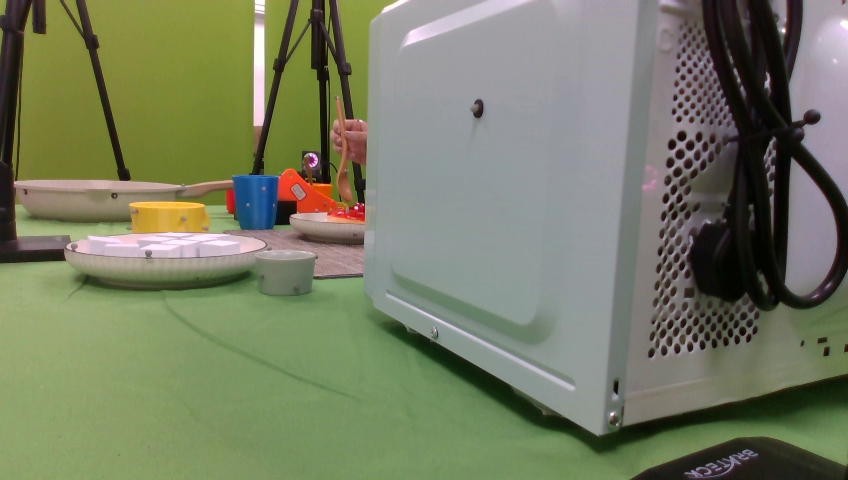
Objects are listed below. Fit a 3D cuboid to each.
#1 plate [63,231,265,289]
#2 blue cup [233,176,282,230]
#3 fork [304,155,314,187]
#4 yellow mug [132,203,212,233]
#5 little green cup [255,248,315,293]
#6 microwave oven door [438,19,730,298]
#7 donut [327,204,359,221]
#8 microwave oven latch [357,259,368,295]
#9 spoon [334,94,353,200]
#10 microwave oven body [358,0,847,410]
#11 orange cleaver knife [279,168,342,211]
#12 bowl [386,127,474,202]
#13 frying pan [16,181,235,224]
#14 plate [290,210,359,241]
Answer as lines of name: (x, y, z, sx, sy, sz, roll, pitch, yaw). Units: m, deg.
plate: (-0.288, 0.021, 0.687, 0.208, 0.039, 0.207, 2, 8, 0)
blue cup: (-0.314, -0.071, 1.141, 0.093, 0.100, 0.092, 0, 7, 0)
fork: (-0.268, -0.134, 1.446, 0.028, 0.018, 0.207, 1, -36, -1)
yellow mug: (-0.356, -0.020, 0.878, 0.099, 0.064, 0.131, 5, 7, 22)
little green cup: (-0.144, 0.031, 0.627, 0.061, 0.038, 0.061, 2, 6, 0)
microwave oven door: (0.181, -0.076, 0.618, 0.358, 0.243, 0.039, -2, 8, -28)
donut: (-0.120, -0.037, 1.056, 0.099, 0.048, 0.099, 5, 7, 0)
microwave oven latch: (-0.019, 0.031, 0.529, 0.079, 0.029, 0.030, -1, 7, -26)
spoon: (-0.144, -0.165, 1.069, 0.021, 0.193, 0.042, -7, -8, 26)
microwave oven body: (0.210, -0.051, 0.471, 0.444, 0.260, 0.324, -1, 7, -28)
orange cleaver knife: (-0.236, -0.084, 1.332, 0.212, 0.077, 0.012, 31, -9, -31)
bowl: (0.021, -0.113, 0.992, 0.151, 0.076, 0.151, -19, -14, -5)
frying pan: (-0.554, -0.097, 1.266, 0.490, 0.102, 0.305, -10, 13, -24)
plate: (-0.127, -0.026, 1.051, 0.209, 0.038, 0.209, 3, 7, 0)
